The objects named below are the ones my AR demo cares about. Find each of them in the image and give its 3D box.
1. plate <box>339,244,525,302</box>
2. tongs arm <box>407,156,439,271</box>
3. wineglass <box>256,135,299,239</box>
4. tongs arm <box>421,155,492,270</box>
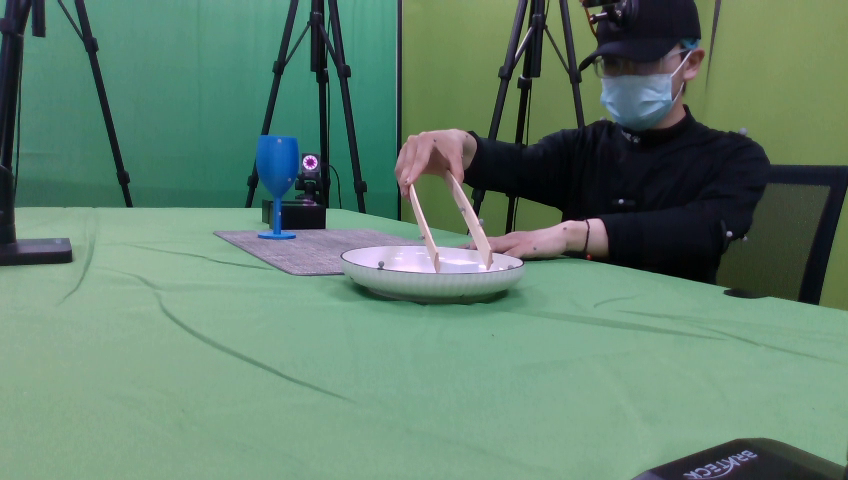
[{"bbox_3d":[0.008,0.035,0.682,0.209,0.038,0.209,2,7,0],"label":"plate"},{"bbox_3d":[-0.001,-0.051,0.800,0.028,0.028,0.386,-5,23,-3],"label":"tongs arm"},{"bbox_3d":[-0.252,-0.091,1.035,0.074,0.172,0.073,3,7,0],"label":"wineglass"},{"bbox_3d":[0.033,-0.052,0.805,0.051,0.026,0.384,-1,22,-4],"label":"tongs arm"}]
